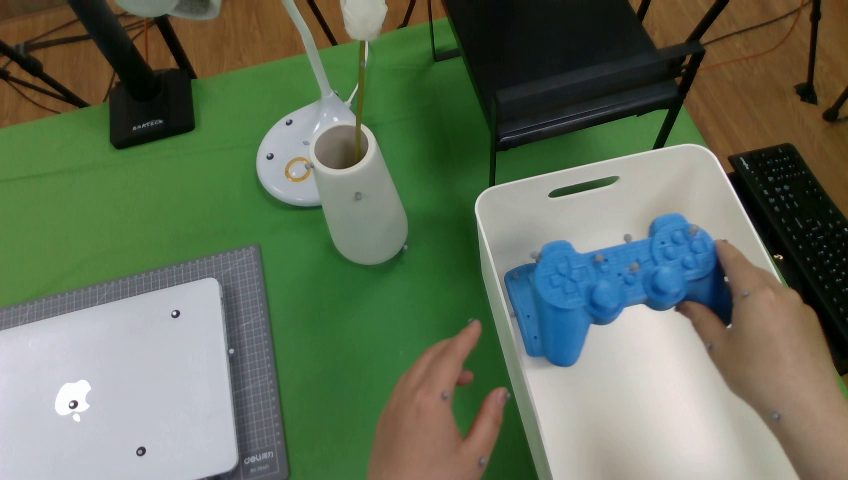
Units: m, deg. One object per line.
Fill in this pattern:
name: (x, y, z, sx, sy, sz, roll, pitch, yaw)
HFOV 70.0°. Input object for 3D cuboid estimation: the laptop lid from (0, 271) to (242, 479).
laptop lid: (-0.394, 0.181, 0.694, 0.357, 0.013, 0.239, -13, 65, -2)

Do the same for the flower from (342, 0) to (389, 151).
flower: (-0.067, -0.106, 0.631, 0.038, 0.364, 0.043, -19, 52, -24)

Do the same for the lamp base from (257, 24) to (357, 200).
lamp base: (-0.153, -0.171, 0.774, 0.160, 0.182, 0.178, 16, 63, 12)

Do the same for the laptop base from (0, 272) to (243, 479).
laptop base: (-0.394, 0.184, 0.706, 0.354, 0.023, 0.233, -14, 67, -3)

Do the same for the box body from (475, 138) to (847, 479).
box body: (0.215, 0.106, 0.615, 0.254, 0.162, 0.360, -13, 63, -1)

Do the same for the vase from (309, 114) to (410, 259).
vase: (-0.074, -0.057, 0.700, 0.098, 0.202, 0.097, -3, 62, 6)

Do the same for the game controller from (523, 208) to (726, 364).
game controller: (0.153, 0.032, 0.471, 0.155, 0.052, 0.096, -13, 69, -3)

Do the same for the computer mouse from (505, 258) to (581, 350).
computer mouse: (0.137, 0.069, 0.704, 0.063, 0.041, 0.116, -14, 57, 1)

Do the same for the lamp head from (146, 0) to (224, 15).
lamp head: (-0.203, -0.258, 0.486, 0.112, 0.113, 0.122, 13, 83, 11)
